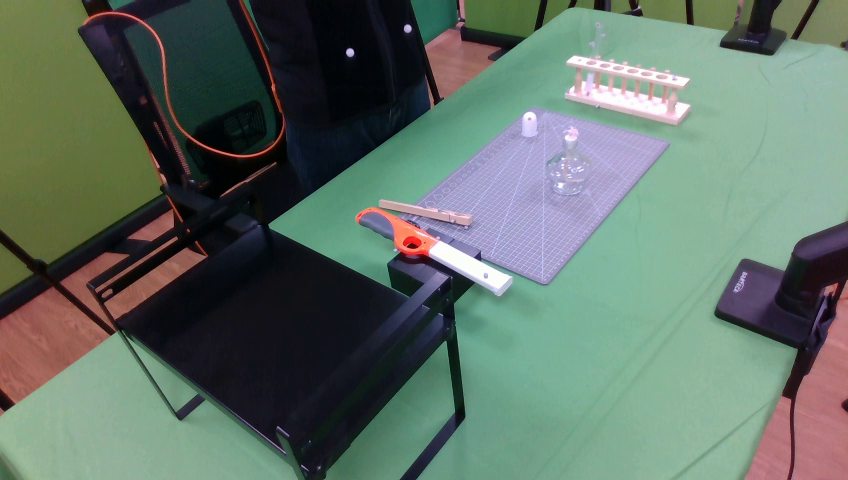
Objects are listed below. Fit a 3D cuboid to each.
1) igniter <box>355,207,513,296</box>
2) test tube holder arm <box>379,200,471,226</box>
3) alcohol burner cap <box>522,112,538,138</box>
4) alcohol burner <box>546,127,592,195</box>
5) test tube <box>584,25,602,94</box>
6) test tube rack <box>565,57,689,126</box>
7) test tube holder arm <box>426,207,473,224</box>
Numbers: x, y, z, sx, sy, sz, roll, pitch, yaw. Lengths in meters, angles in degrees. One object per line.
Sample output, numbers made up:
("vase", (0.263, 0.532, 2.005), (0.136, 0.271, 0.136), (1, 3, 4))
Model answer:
("igniter", (0.006, 0.010, 0.885), (0.274, 0.025, 0.057), (27, 53, 30))
("test tube holder arm", (-0.002, -0.048, 1.031), (0.177, 0.015, 0.013), (12, 21, 25))
("alcohol burner cap", (0.210, -0.230, 1.195), (0.034, 0.048, 0.033), (-5, 42, 5))
("alcohol burner", (0.246, -0.137, 1.024), (0.078, 0.119, 0.077), (-4, 38, 4))
("test tube", (0.341, -0.362, 1.224), (0.017, 0.151, 0.017), (-2, 45, 2))
("test tube rack", (0.412, -0.311, 1.230), (0.240, 0.085, 0.067), (23, 49, 32))
("test tube holder arm", (0.041, -0.041, 1.016), (0.087, 0.015, 0.010), (12, 21, 26))
